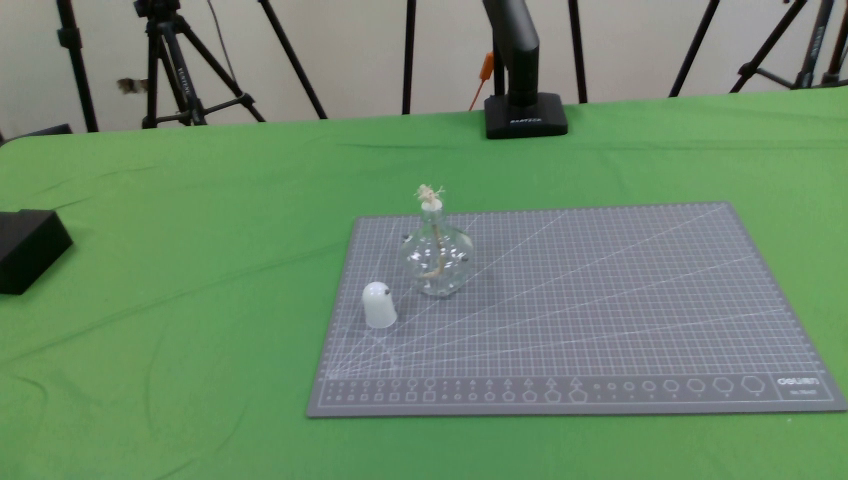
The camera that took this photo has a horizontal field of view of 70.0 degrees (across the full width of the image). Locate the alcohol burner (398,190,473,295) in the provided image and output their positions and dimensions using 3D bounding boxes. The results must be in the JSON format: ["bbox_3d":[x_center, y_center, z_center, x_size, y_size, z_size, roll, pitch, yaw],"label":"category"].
[{"bbox_3d":[0.011,-0.002,0.617,0.078,0.120,0.077,-2,39,2],"label":"alcohol burner"}]

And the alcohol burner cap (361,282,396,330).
[{"bbox_3d":[-0.047,0.062,0.602,0.034,0.048,0.033,-4,39,3],"label":"alcohol burner cap"}]
